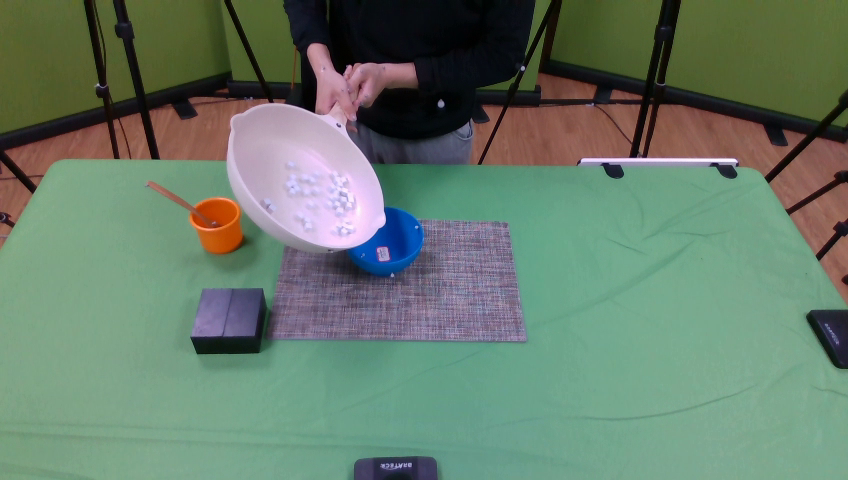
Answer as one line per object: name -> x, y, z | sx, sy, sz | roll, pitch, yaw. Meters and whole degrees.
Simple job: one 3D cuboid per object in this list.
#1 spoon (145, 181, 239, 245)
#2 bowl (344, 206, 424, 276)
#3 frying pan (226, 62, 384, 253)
spoon -> -0.428, -0.052, 1.126 | 0.021, 0.195, 0.041 | -28, 34, 33
bowl -> -0.079, 0.014, 1.134 | 0.151, 0.077, 0.150 | 2, 46, -2
frying pan -> -0.183, -0.177, 1.102 | 0.308, 0.103, 0.485 | 36, 48, -22
